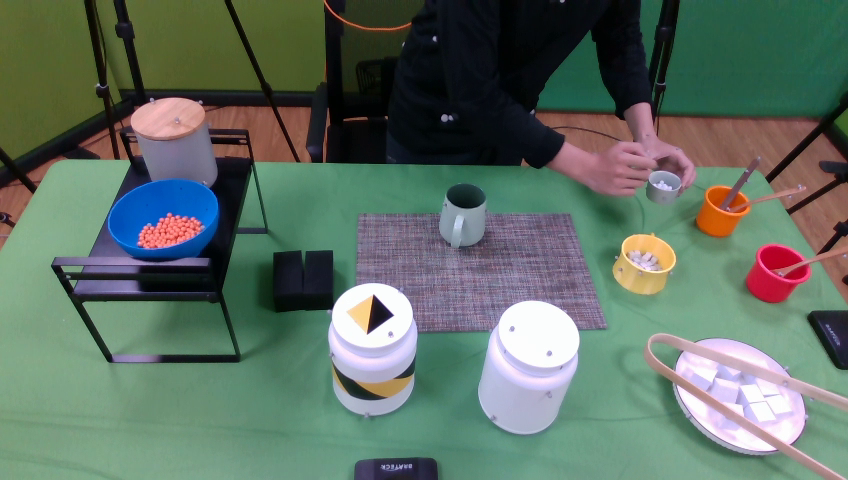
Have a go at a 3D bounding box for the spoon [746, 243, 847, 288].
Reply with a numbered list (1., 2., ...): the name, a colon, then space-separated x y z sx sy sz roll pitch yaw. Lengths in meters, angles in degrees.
1. spoon: 0.702 0.044 1.126 0.194 0.022 0.041 -29 38 30

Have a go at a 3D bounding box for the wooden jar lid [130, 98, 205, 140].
1. wooden jar lid: -0.393 -0.183 0.934 0.108 0.021 0.107 2 43 -2

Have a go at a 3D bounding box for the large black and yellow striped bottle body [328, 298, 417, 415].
1. large black and yellow striped bottle body: -0.078 0.167 0.920 0.131 0.185 0.130 2 46 -2

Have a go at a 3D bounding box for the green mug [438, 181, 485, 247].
1. green mug: 0.071 -0.039 1.178 0.092 0.105 0.124 12 47 7

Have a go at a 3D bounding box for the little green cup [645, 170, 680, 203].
1. little green cup: 0.457 -0.101 1.167 0.061 0.039 0.061 1 41 -1

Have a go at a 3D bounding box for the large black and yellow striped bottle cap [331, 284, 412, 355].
1. large black and yellow striped bottle cap: -0.073 0.110 0.857 0.115 0.019 0.114 2 46 -2

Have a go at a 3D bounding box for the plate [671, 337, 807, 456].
1. plate: 0.504 0.254 0.984 0.208 0.039 0.206 2 46 -2

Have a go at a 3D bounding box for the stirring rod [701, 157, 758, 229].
1. stirring rod: 0.634 -0.097 1.257 0.014 0.006 0.176 38 97 29

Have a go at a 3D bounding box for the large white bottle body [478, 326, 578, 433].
1. large white bottle body: 0.156 0.192 0.913 0.131 0.185 0.130 2 46 -2

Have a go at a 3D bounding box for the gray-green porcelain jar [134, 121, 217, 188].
1. gray-green porcelain jar: -0.397 -0.141 0.979 0.106 0.127 0.105 2 47 -2

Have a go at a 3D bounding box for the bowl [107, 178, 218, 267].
1. bowl: -0.374 -0.014 0.893 0.151 0.077 0.150 2 46 -2

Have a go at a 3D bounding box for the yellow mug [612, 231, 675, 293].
1. yellow mug: 0.424 0.033 1.168 0.100 0.064 0.130 18 47 14

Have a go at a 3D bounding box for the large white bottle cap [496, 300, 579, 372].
1. large white bottle cap: 0.159 0.133 0.852 0.115 0.018 0.114 3 46 -3

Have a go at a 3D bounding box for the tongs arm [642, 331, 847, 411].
1. tongs arm: 0.546 0.227 0.968 0.384 0.026 0.050 22 52 13

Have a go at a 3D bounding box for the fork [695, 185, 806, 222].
1. fork: 0.657 -0.074 1.229 0.207 0.019 0.028 -23 36 37

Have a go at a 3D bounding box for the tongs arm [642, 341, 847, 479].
1. tongs arm: 0.504 0.278 0.918 0.386 0.028 0.028 34 59 22
